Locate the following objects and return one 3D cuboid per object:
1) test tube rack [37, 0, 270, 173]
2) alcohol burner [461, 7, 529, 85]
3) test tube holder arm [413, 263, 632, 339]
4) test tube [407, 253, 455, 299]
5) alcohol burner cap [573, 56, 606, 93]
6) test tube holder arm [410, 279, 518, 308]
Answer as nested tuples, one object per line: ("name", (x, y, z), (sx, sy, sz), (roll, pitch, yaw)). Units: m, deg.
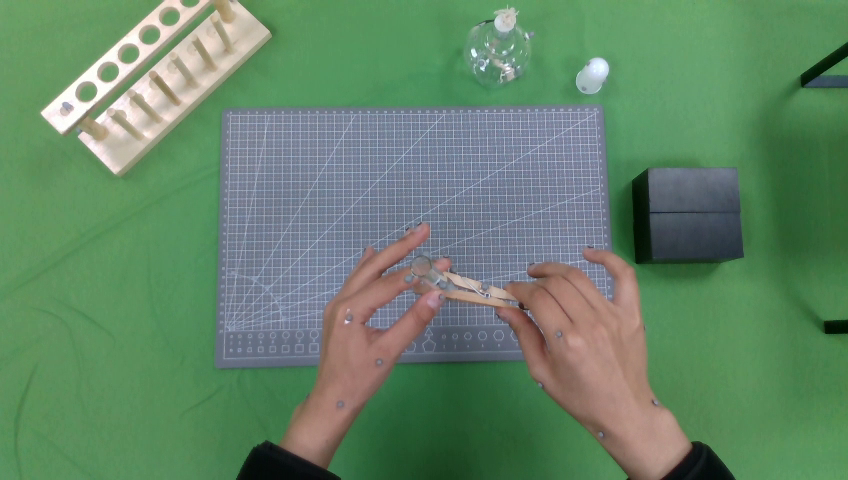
("test tube rack", (-0.290, -0.191, 0.673), (0.066, 0.085, 0.242), (44, 83, 5))
("alcohol burner", (0.082, -0.222, 0.676), (0.078, 0.119, 0.077), (1, 80, -3))
("test tube holder arm", (0.077, 0.048, 0.483), (0.178, 0.015, 0.013), (16, 86, 6))
("test tube", (0.009, 0.031, 0.474), (0.017, 0.151, 0.017), (-2, 78, 10))
("alcohol burner cap", (0.196, -0.196, 0.712), (0.034, 0.048, 0.033), (0, 81, -1))
("test tube holder arm", (0.032, 0.043, 0.487), (0.088, 0.015, 0.010), (9, 85, 5))
